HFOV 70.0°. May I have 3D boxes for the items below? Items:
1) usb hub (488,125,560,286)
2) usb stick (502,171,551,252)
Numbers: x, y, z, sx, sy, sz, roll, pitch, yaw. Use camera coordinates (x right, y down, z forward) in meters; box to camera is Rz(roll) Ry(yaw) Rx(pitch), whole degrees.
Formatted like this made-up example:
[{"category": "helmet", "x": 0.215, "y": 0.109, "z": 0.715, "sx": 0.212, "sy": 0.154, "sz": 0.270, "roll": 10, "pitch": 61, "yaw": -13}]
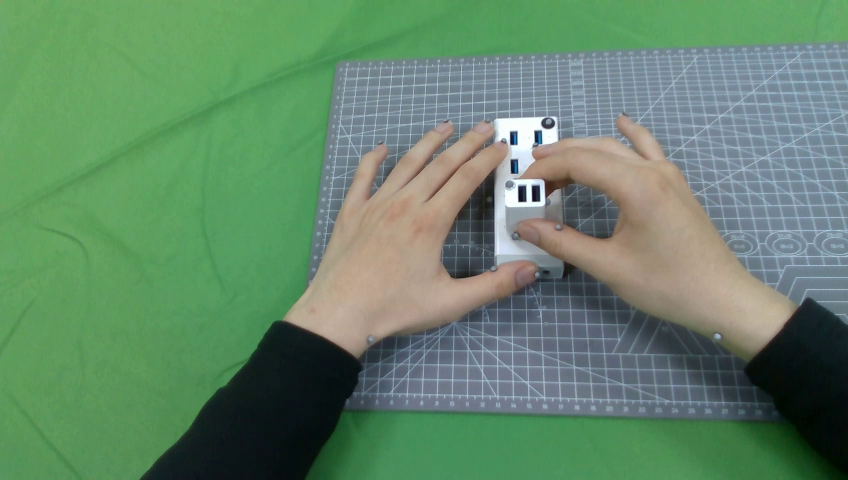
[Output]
[{"category": "usb hub", "x": 0.073, "y": -0.028, "z": 0.443, "sx": 0.049, "sy": 0.025, "sz": 0.124, "roll": 1, "pitch": 64, "yaw": 5}, {"category": "usb stick", "x": 0.066, "y": -0.019, "z": 0.391, "sx": 0.027, "sy": 0.060, "sz": 0.021, "roll": -20, "pitch": 55, "yaw": -9}]
